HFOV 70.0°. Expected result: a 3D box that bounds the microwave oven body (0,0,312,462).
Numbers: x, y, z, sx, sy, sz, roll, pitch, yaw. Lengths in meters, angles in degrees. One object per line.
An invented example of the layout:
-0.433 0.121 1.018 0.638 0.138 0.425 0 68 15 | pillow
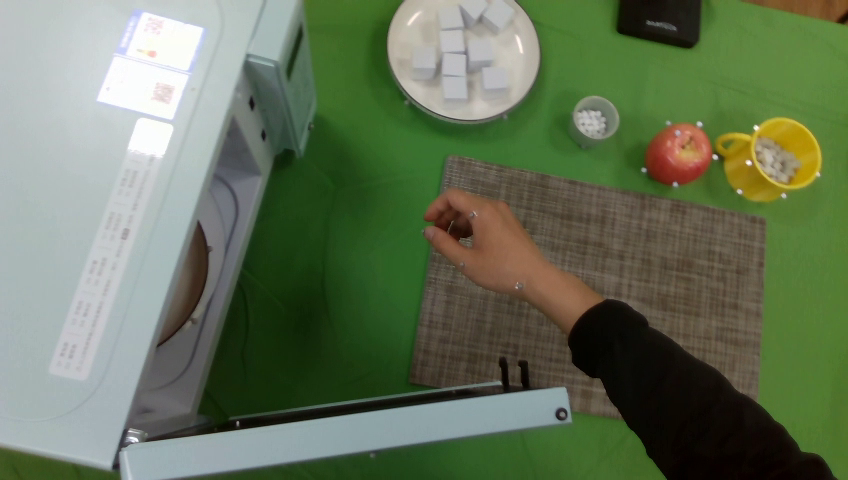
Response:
-0.331 -0.045 0.610 0.326 0.260 0.440 14 78 -4 | microwave oven body

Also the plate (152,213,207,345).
-0.338 0.024 0.648 0.209 0.038 0.208 2 79 -7 | plate

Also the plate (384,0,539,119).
0.049 -0.257 0.817 0.208 0.039 0.206 1 78 -6 | plate

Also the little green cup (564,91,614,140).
0.221 -0.166 0.819 0.061 0.039 0.061 1 78 -6 | little green cup

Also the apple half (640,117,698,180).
0.316 -0.117 0.803 0.053 0.075 0.080 -16 84 -5 | apple half

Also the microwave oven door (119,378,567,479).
-0.068 0.174 0.592 0.356 0.244 0.039 -6 78 -8 | microwave oven door

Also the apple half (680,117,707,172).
0.353 -0.127 0.808 0.033 0.081 0.081 -16 80 -5 | apple half

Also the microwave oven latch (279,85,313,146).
-0.160 -0.159 0.752 0.030 0.029 0.079 16 78 -4 | microwave oven latch

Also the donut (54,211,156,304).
-0.335 0.019 0.638 0.099 0.048 0.098 1 80 -8 | donut

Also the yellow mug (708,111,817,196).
0.452 -0.122 0.823 0.131 0.064 0.099 21 76 -2 | yellow mug
